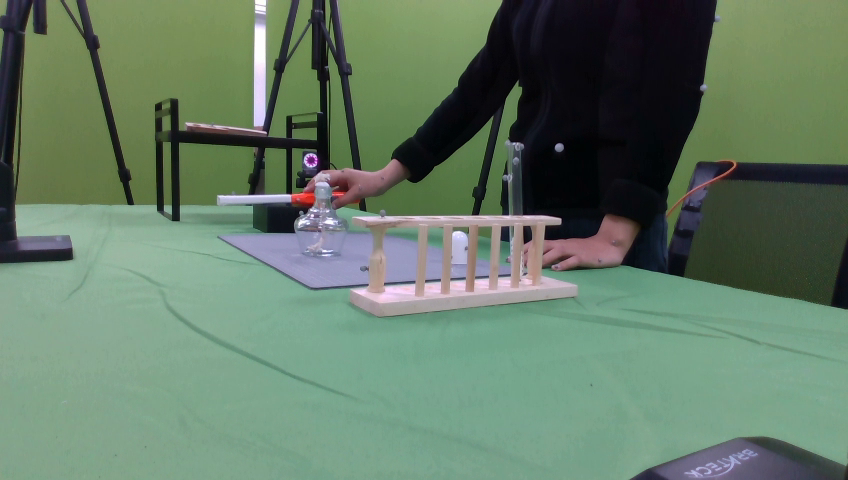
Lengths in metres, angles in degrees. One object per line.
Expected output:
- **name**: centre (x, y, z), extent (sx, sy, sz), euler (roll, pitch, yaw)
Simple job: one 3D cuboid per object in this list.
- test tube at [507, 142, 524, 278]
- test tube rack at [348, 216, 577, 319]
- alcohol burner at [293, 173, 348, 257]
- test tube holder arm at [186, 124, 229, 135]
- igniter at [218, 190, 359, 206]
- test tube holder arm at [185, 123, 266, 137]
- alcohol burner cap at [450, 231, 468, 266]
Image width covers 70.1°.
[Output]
- **test tube**: centre (0.101, -0.032, 0.666), extent (0.017, 0.150, 0.017), euler (-2, 6, 1)
- **test tube rack**: centre (0.048, 0.021, 0.619), extent (0.244, 0.085, 0.066), euler (-2, 9, -31)
- **alcohol burner**: centre (-0.146, -0.036, 0.859), extent (0.078, 0.119, 0.078), euler (4, 8, 0)
- **test tube holder arm**: centre (-0.465, -0.236, 1.300), extent (0.088, 0.015, 0.010), euler (-2, 47, -41)
- **igniter**: centre (-0.248, -0.080, 1.152), extent (0.278, 0.025, 0.057), euler (-5, 8, -29)
- **test tube holder arm**: centre (-0.434, -0.242, 1.333), extent (0.179, 0.015, 0.013), euler (-4, 48, -43)
- **alcohol burner cap**: centre (0.046, 0.012, 0.838), extent (0.034, 0.048, 0.034), euler (3, 6, 0)
